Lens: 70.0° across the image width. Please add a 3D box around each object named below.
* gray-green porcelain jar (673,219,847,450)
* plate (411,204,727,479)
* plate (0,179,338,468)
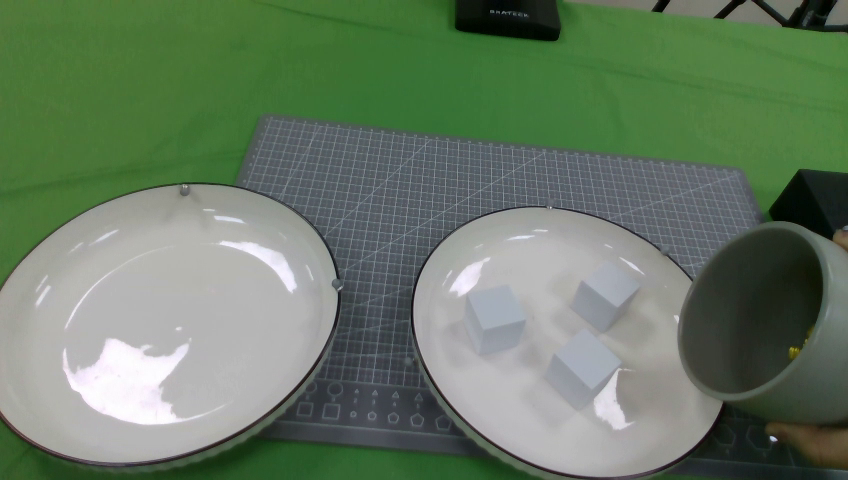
[{"bbox_3d":[0.230,0.059,0.347,0.127,0.106,0.105,23,48,-12],"label":"gray-green porcelain jar"},{"bbox_3d":[0.093,0.063,0.406,0.208,0.039,0.205,4,49,-4],"label":"plate"},{"bbox_3d":[-0.159,0.045,0.385,0.209,0.038,0.207,3,49,-3],"label":"plate"}]
